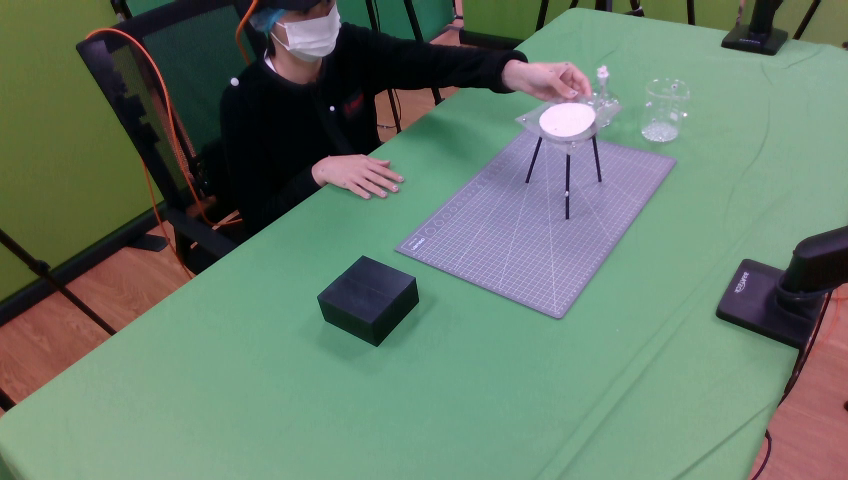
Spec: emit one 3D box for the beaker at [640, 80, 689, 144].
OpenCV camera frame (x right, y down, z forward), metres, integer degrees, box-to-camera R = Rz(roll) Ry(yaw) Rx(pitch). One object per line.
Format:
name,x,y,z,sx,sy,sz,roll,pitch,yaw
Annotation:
beaker,0.446,-0.235,1.126,0.074,0.101,0.083,-34,47,-27

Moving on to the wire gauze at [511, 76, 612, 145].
wire gauze,0.214,-0.201,0.941,0.120,0.011,0.125,21,63,26

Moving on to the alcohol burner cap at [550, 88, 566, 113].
alcohol burner cap,0.282,-0.296,1.270,0.034,0.048,0.033,-4,41,4

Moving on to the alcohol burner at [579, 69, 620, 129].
alcohol burner,0.345,-0.280,1.184,0.078,0.119,0.077,-4,42,4

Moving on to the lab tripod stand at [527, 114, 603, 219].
lab tripod stand,0.234,-0.129,1.002,0.148,0.132,0.147,-6,40,6
